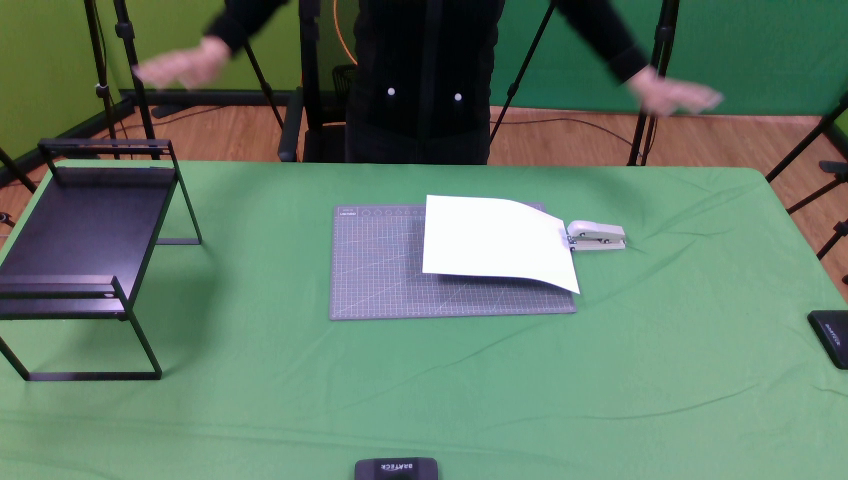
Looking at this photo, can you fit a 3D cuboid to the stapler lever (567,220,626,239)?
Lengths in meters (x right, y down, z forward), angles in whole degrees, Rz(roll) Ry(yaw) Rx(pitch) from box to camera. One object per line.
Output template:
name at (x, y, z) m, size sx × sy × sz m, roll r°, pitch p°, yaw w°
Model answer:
stapler lever at (0.345, -0.020, 1.209) m, size 0.118 × 0.040 × 0.026 m, roll -2°, pitch 46°, yaw -6°

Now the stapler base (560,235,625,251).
stapler base at (0.342, -0.002, 1.225) m, size 0.131 × 0.024 × 0.041 m, roll -1°, pitch 45°, yaw -7°
